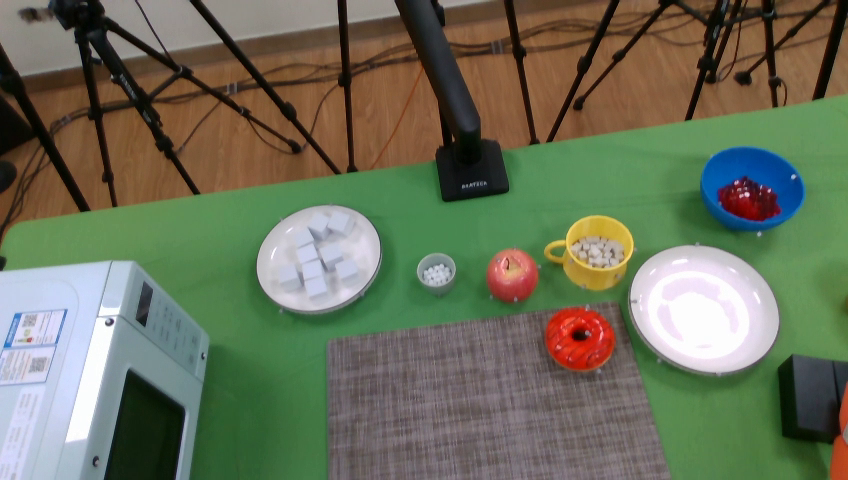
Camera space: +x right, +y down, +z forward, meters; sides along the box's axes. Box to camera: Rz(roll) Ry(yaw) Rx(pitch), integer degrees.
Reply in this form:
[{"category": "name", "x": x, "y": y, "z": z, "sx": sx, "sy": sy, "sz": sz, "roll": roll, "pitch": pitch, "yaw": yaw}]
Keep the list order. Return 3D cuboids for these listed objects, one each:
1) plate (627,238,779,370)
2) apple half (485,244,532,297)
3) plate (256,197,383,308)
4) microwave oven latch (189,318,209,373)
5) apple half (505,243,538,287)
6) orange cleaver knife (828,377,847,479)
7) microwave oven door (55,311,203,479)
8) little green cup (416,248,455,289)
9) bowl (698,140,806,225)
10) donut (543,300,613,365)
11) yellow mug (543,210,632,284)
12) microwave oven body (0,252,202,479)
[{"category": "plate", "x": 0.403, "y": 0.094, "z": 0.890, "sx": 0.209, "sy": 0.038, "sz": 0.207, "roll": -3, "pitch": 58, "yaw": 5}, {"category": "apple half", "x": 0.122, "y": 0.055, "z": 0.927, "sx": 0.053, "sy": 0.075, "sz": 0.080, "roll": -33, "pitch": 64, "yaw": -8}, {"category": "plate", "x": -0.169, "y": 0.023, "z": 1.000, "sx": 0.207, "sy": 0.039, "sz": 0.205, "roll": -3, "pitch": 58, "yaw": 5}, {"category": "microwave oven latch", "x": -0.346, "y": 0.160, "z": 0.914, "sx": 0.030, "sy": 0.030, "sz": 0.078, "roll": -4, "pitch": 59, "yaw": 4}, {"category": "apple half", "x": 0.155, "y": 0.034, "z": 0.934, "sx": 0.033, "sy": 0.082, "sz": 0.080, "roll": -33, "pitch": 60, "yaw": -8}, {"category": "orange cleaver knife", "x": 0.512, "y": 0.272, "z": 0.739, "sx": 0.012, "sy": 0.077, "sz": 0.211, "roll": 8, "pitch": 92, "yaw": 14}, {"category": "microwave oven door", "x": -0.349, "y": 0.292, "z": 0.714, "sx": 0.039, "sy": 0.246, "sz": 0.352, "roll": -6, "pitch": 58, "yaw": 4}, {"category": "little green cup", "x": 0.020, "y": 0.048, "z": 0.963, "sx": 0.061, "sy": 0.039, "sz": 0.061, "roll": -3, "pitch": 58, "yaw": 5}, {"category": "bowl", "x": 0.505, "y": -0.076, "z": 0.959, "sx": 0.151, "sy": 0.077, "sz": 0.150, "roll": -3, "pitch": 59, "yaw": 6}, {"category": "donut", "x": 0.222, "y": 0.134, "z": 0.878, "sx": 0.099, "sy": 0.049, "sz": 0.098, "roll": -4, "pitch": 59, "yaw": 7}, {"category": "yellow mug", "x": 0.251, "y": 0.011, "z": 0.942, "sx": 0.130, "sy": 0.064, "sz": 0.099, "roll": 1, "pitch": 59, "yaw": 8}, {"category": "microwave oven body", "x": -0.495, "y": 0.273, "z": 0.748, "sx": 0.326, "sy": 0.262, "sz": 0.437, "roll": -5, "pitch": 59, "yaw": 3}]
